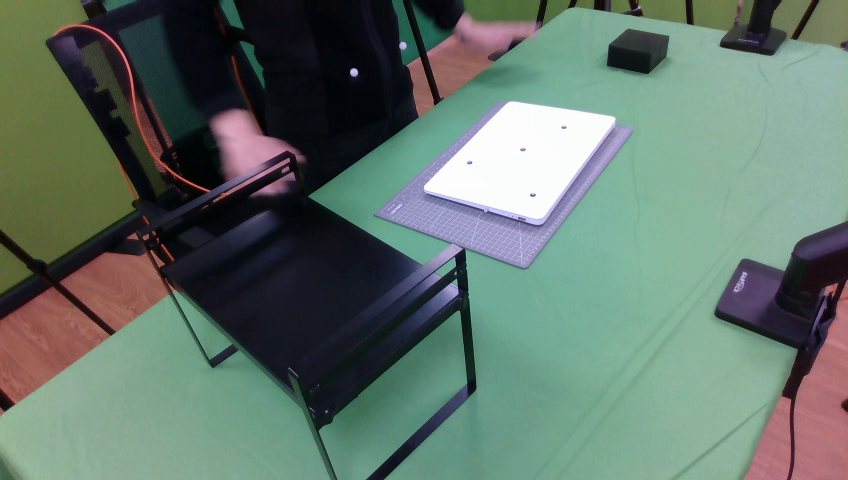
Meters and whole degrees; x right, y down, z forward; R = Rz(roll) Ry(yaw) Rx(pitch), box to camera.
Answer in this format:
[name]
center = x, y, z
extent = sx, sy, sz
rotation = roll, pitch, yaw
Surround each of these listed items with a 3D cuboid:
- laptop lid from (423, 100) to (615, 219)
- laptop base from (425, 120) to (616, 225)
[laptop lid]
center = 0.184, -0.166, 1.124
extent = 0.240, 0.013, 0.357
rotation = 18, 47, 30
[laptop base]
center = 0.188, -0.156, 1.131
extent = 0.234, 0.023, 0.355
rotation = 16, 46, 30
